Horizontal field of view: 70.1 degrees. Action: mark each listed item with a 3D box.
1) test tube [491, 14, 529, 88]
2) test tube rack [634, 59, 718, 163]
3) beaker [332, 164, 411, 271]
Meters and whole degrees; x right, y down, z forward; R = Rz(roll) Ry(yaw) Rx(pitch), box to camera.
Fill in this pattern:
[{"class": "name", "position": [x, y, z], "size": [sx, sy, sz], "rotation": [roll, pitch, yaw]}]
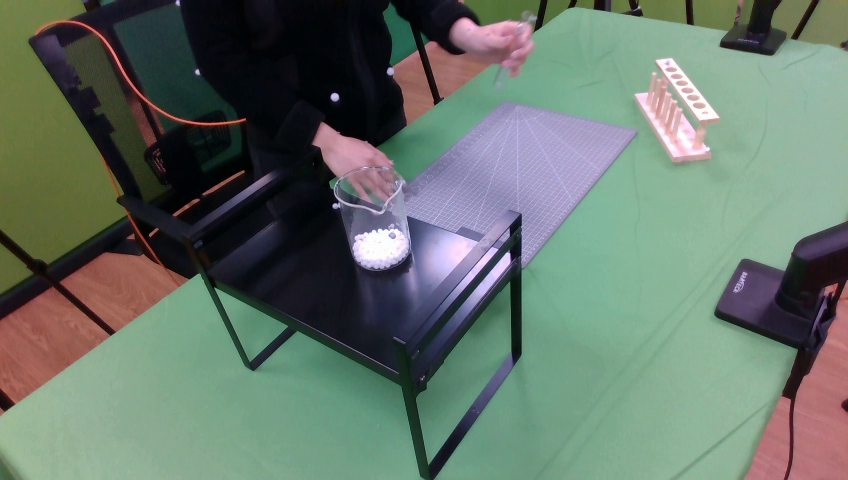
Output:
[{"class": "test tube", "position": [0.139, -0.307, 0.995], "size": [0.017, 0.150, 0.017], "rotation": [7, 57, -11]}, {"class": "test tube rack", "position": [0.470, -0.250, 1.148], "size": [0.067, 0.085, 0.241], "rotation": [-6, 40, 3]}, {"class": "beaker", "position": [-0.053, -0.020, 0.669], "size": [0.074, 0.101, 0.083], "rotation": [-19, 42, -12]}]
